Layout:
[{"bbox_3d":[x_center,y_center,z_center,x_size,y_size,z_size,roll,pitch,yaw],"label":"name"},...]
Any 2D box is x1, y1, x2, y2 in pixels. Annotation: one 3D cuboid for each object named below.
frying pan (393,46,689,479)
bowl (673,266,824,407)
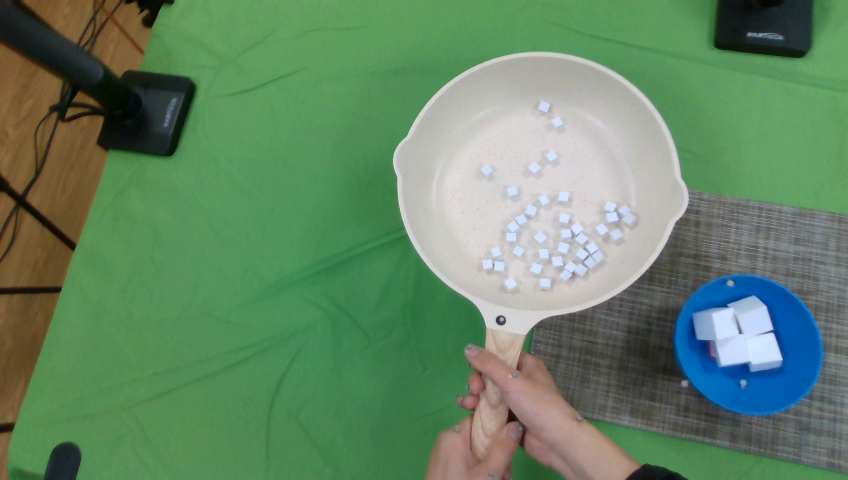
[{"bbox_3d":[0.095,0.030,0.624,0.306,0.103,0.485,11,70,11],"label":"frying pan"},{"bbox_3d":[0.347,0.111,0.676,0.151,0.077,0.150,-2,75,6],"label":"bowl"}]
